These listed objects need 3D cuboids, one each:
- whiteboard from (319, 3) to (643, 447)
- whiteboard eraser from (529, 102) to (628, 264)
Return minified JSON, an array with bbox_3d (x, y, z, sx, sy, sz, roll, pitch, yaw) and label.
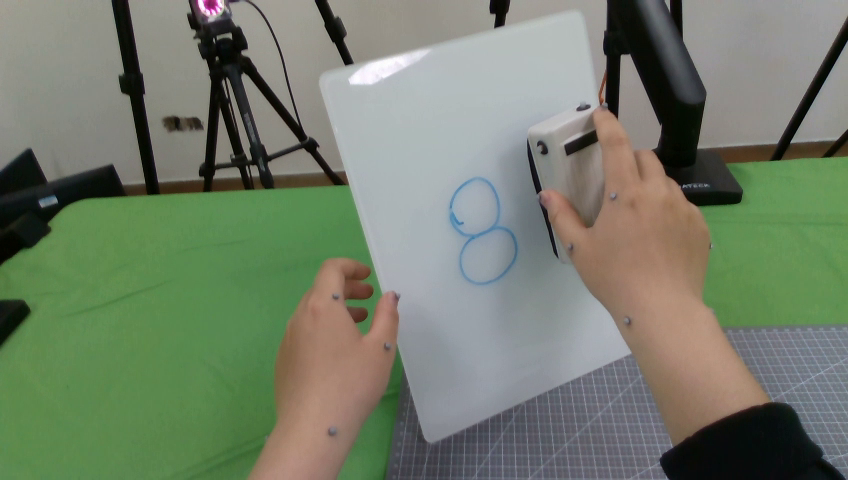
[{"bbox_3d":[0.042,-0.020,0.539,0.217,0.307,0.143,-19,17,-15],"label":"whiteboard"},{"bbox_3d":[0.115,-0.042,0.457,0.055,0.113,0.041,-25,22,-17],"label":"whiteboard eraser"}]
